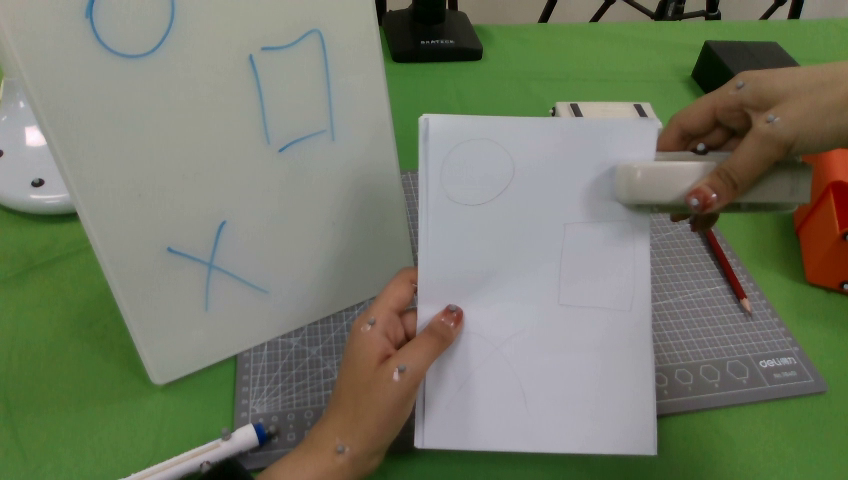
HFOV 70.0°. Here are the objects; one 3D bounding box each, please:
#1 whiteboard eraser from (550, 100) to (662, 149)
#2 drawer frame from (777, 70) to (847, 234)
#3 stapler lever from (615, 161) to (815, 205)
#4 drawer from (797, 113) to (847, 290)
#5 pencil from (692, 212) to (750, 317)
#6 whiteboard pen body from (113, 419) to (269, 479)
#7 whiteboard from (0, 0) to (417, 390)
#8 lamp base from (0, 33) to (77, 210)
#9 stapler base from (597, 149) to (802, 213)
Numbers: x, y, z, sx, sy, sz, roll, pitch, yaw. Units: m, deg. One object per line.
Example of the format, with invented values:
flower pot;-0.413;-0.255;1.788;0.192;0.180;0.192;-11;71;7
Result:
whiteboard eraser;0.201;-0.129;0.675;0.113;0.042;0.055;0;47;-6
drawer frame;0.488;-0.073;0.622;0.201;0.083;0.212;14;46;9
stapler lever;0.179;-0.036;0.372;0.118;0.027;0.040;1;11;11
drawer;0.469;-0.029;0.579;0.194;0.074;0.210;15;46;10
pencil;0.273;-0.006;0.581;0.012;0.012;0.192;0;48;-6
whiteboard pen body;-0.167;0.147;0.379;0.141;0.017;0.017;-19;50;-24
whiteboard;-0.149;-0.086;0.452;0.217;0.308;0.142;-21;32;-23
lamp base;-0.343;-0.144;0.534;0.178;0.182;0.160;25;48;21
stapler base;0.179;-0.037;0.387;0.130;0.041;0.024;-1;11;0
